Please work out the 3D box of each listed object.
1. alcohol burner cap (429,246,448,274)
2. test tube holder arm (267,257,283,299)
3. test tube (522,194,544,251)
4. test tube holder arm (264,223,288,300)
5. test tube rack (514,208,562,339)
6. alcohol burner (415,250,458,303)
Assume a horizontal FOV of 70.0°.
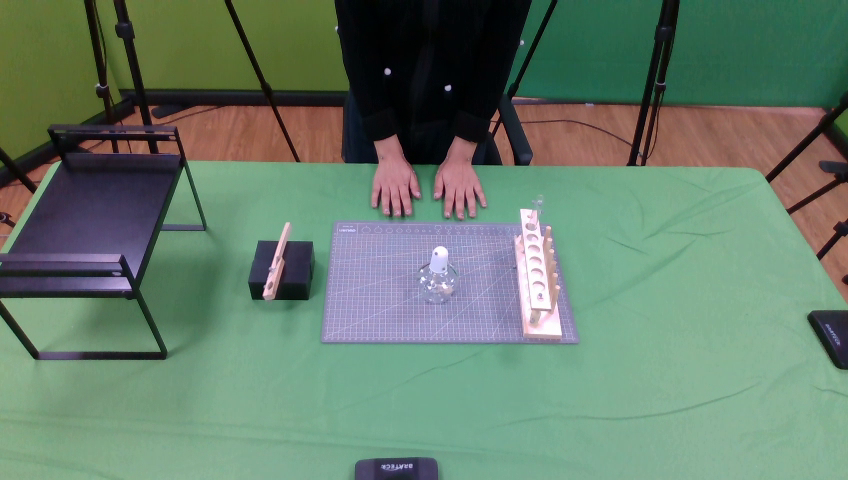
[{"bbox_3d":[0.027,0.032,1.052,0.034,0.048,0.033,4,40,-3],"label":"alcohol burner cap"},{"bbox_3d":[-0.258,0.066,1.050,0.010,0.015,0.087,-2,45,2],"label":"test tube holder arm"},{"bbox_3d":[0.201,-0.029,1.125,0.017,0.151,0.017,2,50,-2],"label":"test tube"},{"bbox_3d":[-0.263,0.034,1.082,0.013,0.015,0.177,-3,45,2],"label":"test tube holder arm"},{"bbox_3d":[0.212,0.056,1.113,0.067,0.085,0.241,3,46,-1],"label":"test tube rack"},{"bbox_3d":[0.024,0.057,1.078,0.078,0.119,0.077,3,44,-3],"label":"alcohol burner"}]
